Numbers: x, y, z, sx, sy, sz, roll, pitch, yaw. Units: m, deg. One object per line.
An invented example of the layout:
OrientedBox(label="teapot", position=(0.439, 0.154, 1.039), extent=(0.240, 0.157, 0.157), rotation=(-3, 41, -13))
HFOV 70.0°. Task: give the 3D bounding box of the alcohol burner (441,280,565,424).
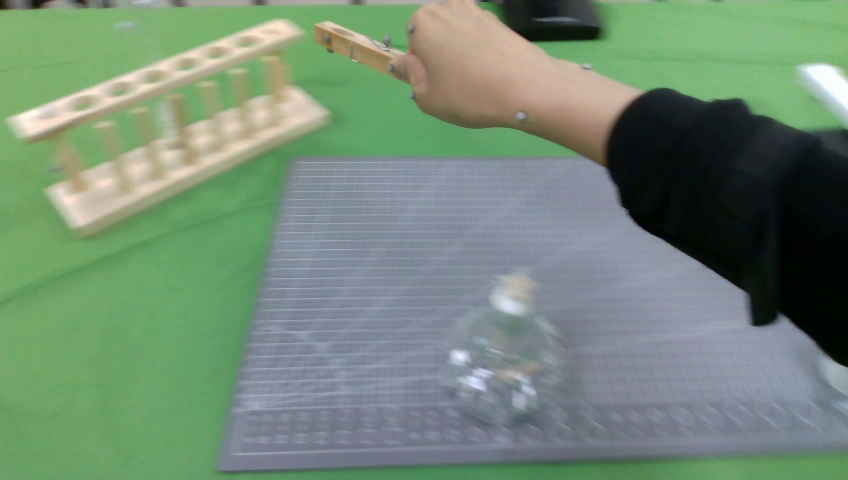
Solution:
OrientedBox(label="alcohol burner", position=(0.049, 0.062, 0.369), extent=(0.078, 0.120, 0.077), rotation=(0, 49, 0))

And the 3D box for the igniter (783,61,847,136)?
OrientedBox(label="igniter", position=(0.386, -0.073, 0.501), extent=(0.057, 0.025, 0.273), rotation=(-7, 45, -3))

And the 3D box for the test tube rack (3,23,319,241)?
OrientedBox(label="test tube rack", position=(-0.216, -0.104, 0.540), extent=(0.242, 0.086, 0.066), rotation=(-34, 56, -28))

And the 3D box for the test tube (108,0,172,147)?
OrientedBox(label="test tube", position=(-0.237, -0.142, 0.507), extent=(0.017, 0.151, 0.017), rotation=(1, 43, -1))

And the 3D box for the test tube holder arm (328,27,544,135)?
OrientedBox(label="test tube holder arm", position=(0.001, -0.109, 0.404), extent=(0.177, 0.015, 0.013), rotation=(28, 45, 23))

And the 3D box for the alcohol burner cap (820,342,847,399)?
OrientedBox(label="alcohol burner cap", position=(0.293, 0.082, 0.406), extent=(0.034, 0.048, 0.033), rotation=(1, 46, -1))

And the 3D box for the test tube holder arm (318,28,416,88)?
OrientedBox(label="test tube holder arm", position=(-0.039, -0.126, 0.418), extent=(0.087, 0.015, 0.010), rotation=(29, 45, 23))
